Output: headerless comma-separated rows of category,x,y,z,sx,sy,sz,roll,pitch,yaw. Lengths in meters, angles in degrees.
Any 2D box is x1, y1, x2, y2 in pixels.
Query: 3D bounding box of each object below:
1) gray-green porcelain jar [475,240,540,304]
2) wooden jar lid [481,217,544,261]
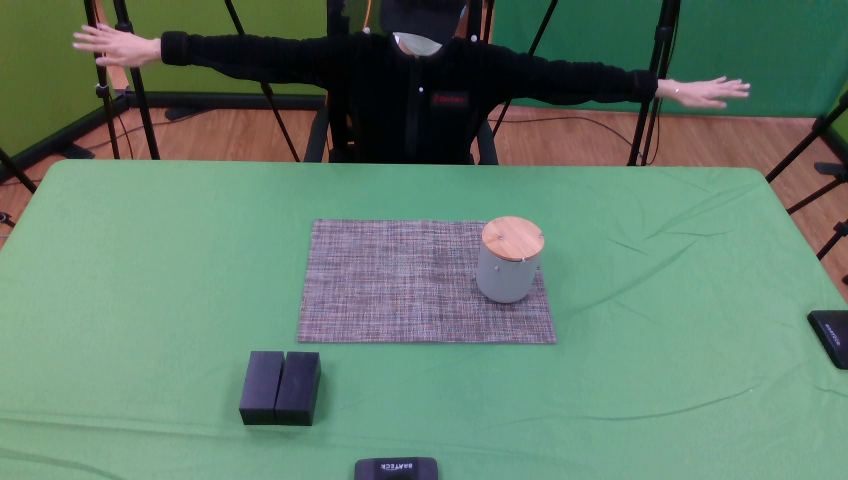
gray-green porcelain jar,0.148,0.044,1.090,0.106,0.127,0.105,2,46,-2
wooden jar lid,0.152,0.001,1.044,0.108,0.021,0.107,2,43,-2
